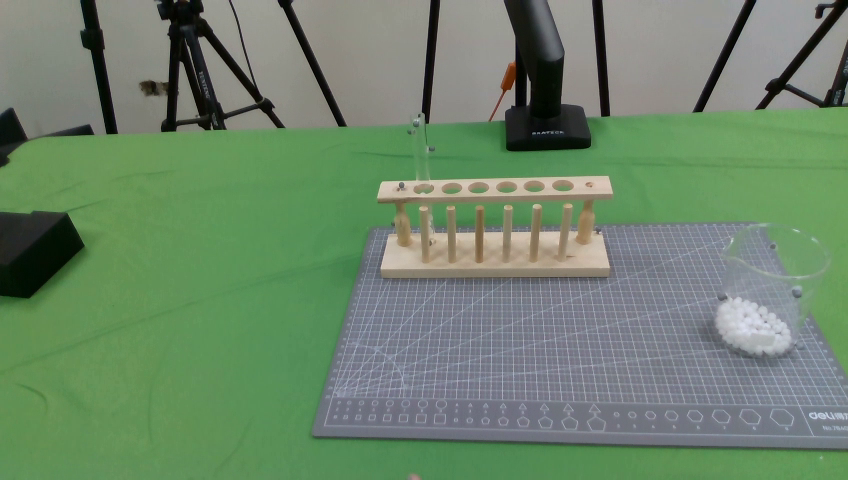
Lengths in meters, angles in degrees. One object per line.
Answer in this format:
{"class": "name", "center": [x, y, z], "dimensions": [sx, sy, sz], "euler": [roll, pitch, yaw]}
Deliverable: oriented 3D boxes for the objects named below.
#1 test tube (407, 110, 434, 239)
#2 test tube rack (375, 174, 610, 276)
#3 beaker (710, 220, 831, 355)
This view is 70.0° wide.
{"class": "test tube", "center": [-0.003, -0.065, 0.642], "dimensions": [0.017, 0.151, 0.017], "euler": [-4, 34, 3]}
{"class": "test tube rack", "center": [0.071, -0.015, 0.648], "dimensions": [0.242, 0.086, 0.066], "euler": [-1, 37, 7]}
{"class": "beaker", "center": [0.293, 0.045, 0.529], "dimensions": [0.084, 0.101, 0.073], "euler": [-1, 37, 8]}
